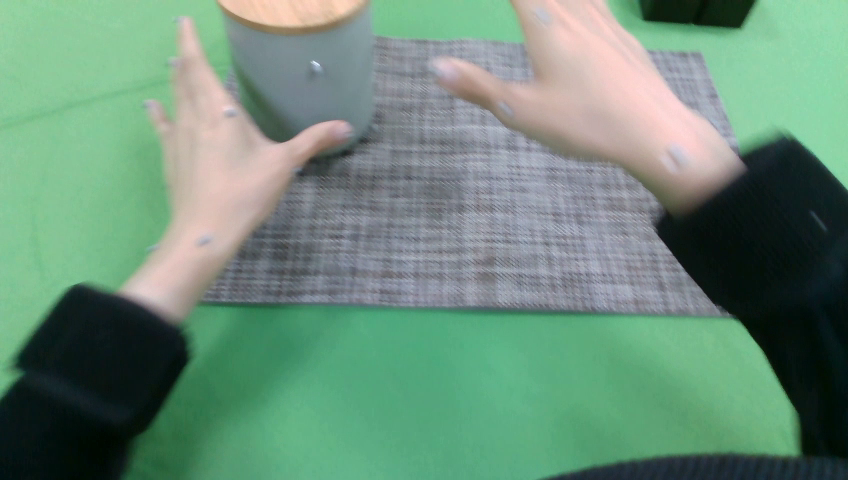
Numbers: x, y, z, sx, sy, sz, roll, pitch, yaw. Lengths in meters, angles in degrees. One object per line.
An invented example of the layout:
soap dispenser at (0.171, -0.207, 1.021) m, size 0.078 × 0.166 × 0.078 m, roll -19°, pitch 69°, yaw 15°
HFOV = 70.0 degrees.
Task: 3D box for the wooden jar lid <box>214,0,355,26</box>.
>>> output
wooden jar lid at (-0.093, -0.178, 0.410) m, size 0.108 × 0.021 × 0.107 m, roll 2°, pitch 58°, yaw -3°

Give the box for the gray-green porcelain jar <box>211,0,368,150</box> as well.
gray-green porcelain jar at (-0.096, -0.141, 0.460) m, size 0.106 × 0.127 × 0.105 m, roll 2°, pitch 55°, yaw -2°
